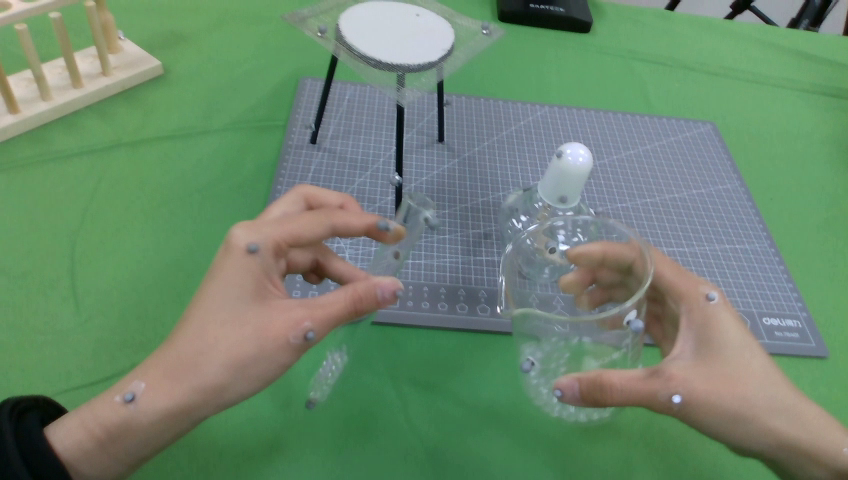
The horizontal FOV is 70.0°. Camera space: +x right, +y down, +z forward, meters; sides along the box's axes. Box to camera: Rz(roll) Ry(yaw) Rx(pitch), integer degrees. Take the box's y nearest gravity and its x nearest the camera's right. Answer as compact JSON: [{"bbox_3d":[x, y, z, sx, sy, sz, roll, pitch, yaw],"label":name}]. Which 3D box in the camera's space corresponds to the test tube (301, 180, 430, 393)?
[{"bbox_3d":[-0.036,0.031,0.325,0.017,0.151,0.017,22,31,-13],"label":"test tube"}]

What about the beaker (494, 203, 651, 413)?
[{"bbox_3d":[0.079,0.043,0.333,0.084,0.101,0.073,-27,44,-15],"label":"beaker"}]

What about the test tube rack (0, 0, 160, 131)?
[{"bbox_3d":[-0.357,-0.154,0.510,0.066,0.086,0.242,35,52,20],"label":"test tube rack"}]

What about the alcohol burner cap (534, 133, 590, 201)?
[{"bbox_3d":[0.100,-0.054,0.430,0.034,0.048,0.033,4,53,-6],"label":"alcohol burner cap"}]

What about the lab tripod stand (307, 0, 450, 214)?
[{"bbox_3d":[-0.030,-0.117,0.498,0.149,0.132,0.147,6,49,-7],"label":"lab tripod stand"}]

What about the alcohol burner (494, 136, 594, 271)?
[{"bbox_3d":[0.095,-0.032,0.458,0.078,0.120,0.077,6,47,-6],"label":"alcohol burner"}]

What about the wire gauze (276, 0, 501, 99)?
[{"bbox_3d":[-0.024,-0.161,0.447,0.124,0.011,0.121,36,54,19],"label":"wire gauze"}]
